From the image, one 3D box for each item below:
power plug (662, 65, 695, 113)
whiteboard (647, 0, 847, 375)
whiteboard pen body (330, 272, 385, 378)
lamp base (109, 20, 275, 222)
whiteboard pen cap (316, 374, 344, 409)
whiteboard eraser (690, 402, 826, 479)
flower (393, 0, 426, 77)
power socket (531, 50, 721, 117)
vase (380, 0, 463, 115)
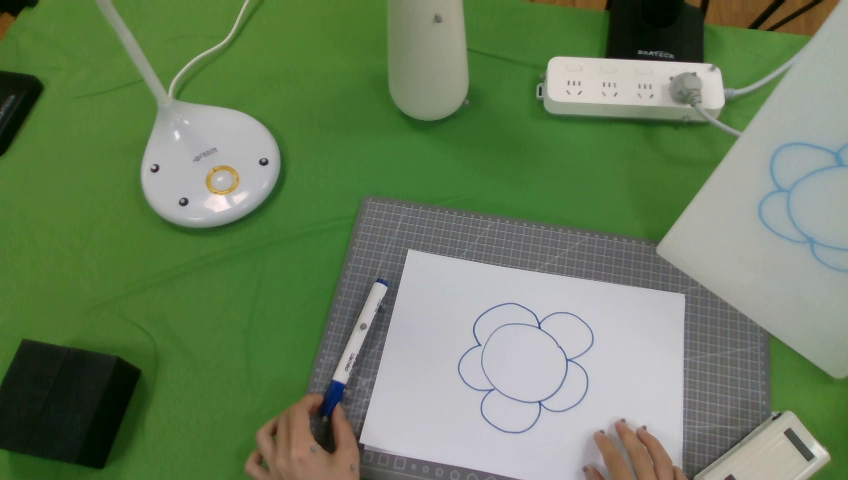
[{"bbox_3d":[0.293,-0.171,0.705,0.035,0.053,0.072,14,72,8],"label":"power plug"},{"bbox_3d":[0.398,-0.060,0.558,0.216,0.307,0.144,39,51,19],"label":"whiteboard"},{"bbox_3d":[-0.072,0.097,0.616,0.017,0.017,0.140,18,69,11],"label":"whiteboard pen body"},{"bbox_3d":[-0.267,-0.134,0.648,0.160,0.182,0.178,-42,67,-17],"label":"lamp base"},{"bbox_3d":[-0.092,0.148,0.595,0.018,0.018,0.033,17,65,10],"label":"whiteboard pen cap"},{"bbox_3d":[0.300,0.199,0.548,0.113,0.042,0.055,-31,67,-12],"label":"whiteboard eraser"},{"bbox_3d":[0.009,-0.256,0.596,0.044,0.362,0.038,-31,84,-21],"label":"flower"},{"bbox_3d":[0.246,-0.192,0.741,0.226,0.033,0.071,4,66,3],"label":"power socket"},{"bbox_3d":[-0.006,-0.231,0.675,0.098,0.201,0.097,-1,64,3],"label":"vase"}]
